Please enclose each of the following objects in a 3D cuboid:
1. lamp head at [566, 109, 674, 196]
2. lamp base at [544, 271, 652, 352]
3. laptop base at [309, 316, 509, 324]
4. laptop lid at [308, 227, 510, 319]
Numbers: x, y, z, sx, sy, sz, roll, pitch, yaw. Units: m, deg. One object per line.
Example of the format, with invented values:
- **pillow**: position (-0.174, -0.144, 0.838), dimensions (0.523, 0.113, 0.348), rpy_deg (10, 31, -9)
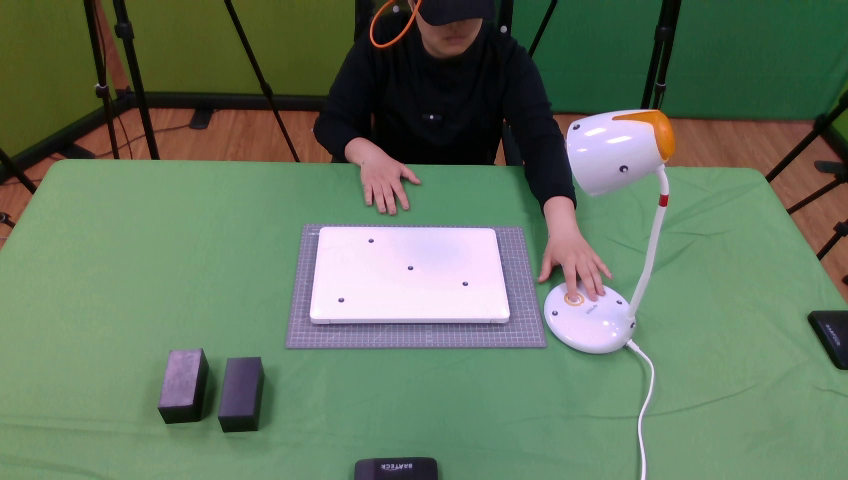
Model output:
- **lamp head**: position (0.272, -0.123, 0.819), dimensions (0.122, 0.113, 0.112), rpy_deg (-9, 35, 37)
- **lamp base**: position (0.310, 0.086, 1.030), dimensions (0.178, 0.181, 0.160), rpy_deg (32, 52, 22)
- **laptop base**: position (-0.028, 0.065, 1.136), dimensions (0.355, 0.023, 0.234), rpy_deg (0, 43, -4)
- **laptop lid**: position (-0.028, 0.055, 1.129), dimensions (0.357, 0.013, 0.240), rpy_deg (2, 44, -3)
